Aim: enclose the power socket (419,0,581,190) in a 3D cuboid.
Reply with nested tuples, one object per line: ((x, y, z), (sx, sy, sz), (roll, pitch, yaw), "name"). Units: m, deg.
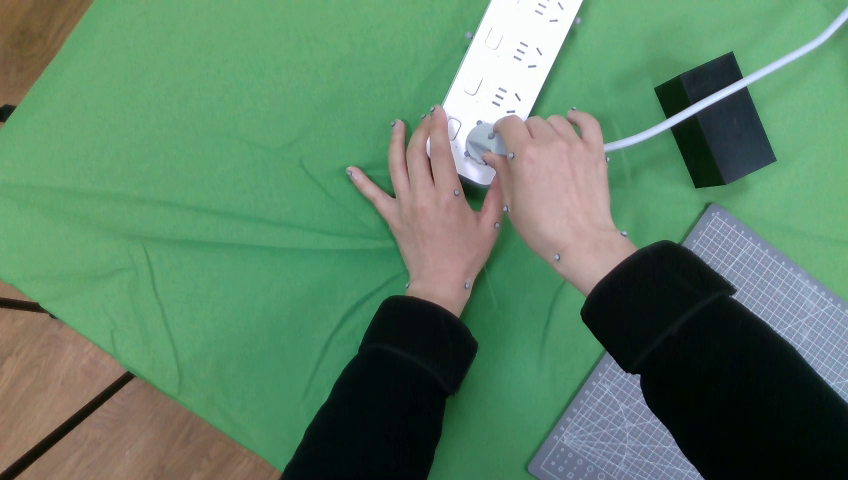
((0.068, -0.150, 0.525), (0.072, 0.032, 0.226), (25, 91, -6), "power socket")

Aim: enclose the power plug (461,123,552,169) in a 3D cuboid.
((0.064, -0.068, 0.506), (0.072, 0.052, 0.035), (36, 90, -3), "power plug")
